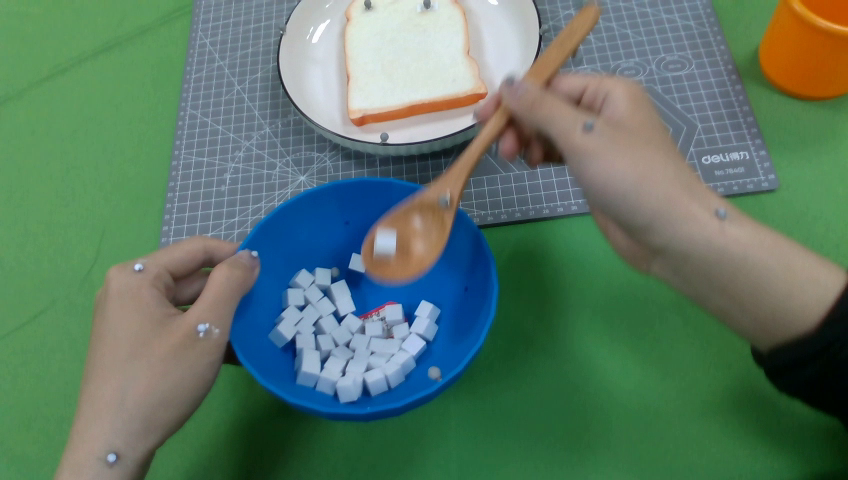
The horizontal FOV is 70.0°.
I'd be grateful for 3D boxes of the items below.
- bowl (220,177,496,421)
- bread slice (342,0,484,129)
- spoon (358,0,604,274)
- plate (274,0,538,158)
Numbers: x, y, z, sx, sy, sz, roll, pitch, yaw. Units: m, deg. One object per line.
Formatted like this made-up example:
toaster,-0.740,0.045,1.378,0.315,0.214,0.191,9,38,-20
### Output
bowl,-0.035,0.044,0.362,0.151,0.077,0.150,1,55,0
bread slice,-0.018,-0.153,0.494,0.107,0.018,0.133,-13,65,2
spoon,0.034,-0.059,0.323,0.041,0.022,0.194,41,93,23
plate,-0.015,-0.150,0.489,0.209,0.038,0.207,-3,64,7
